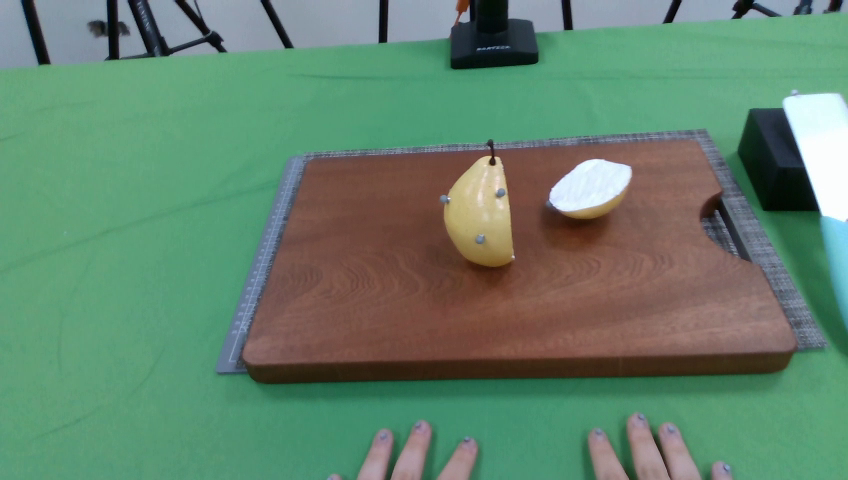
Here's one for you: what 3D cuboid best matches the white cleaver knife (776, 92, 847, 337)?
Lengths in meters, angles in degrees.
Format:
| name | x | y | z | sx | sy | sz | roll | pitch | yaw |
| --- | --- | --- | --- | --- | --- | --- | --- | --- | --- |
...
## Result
| name | x | y | z | sx | sy | sz | roll | pitch | yaw |
| --- | --- | --- | --- | --- | --- | --- | --- | --- | --- |
| white cleaver knife | 0.352 | -0.027 | 0.498 | 0.066 | 0.022 | 0.284 | 0 | 56 | 11 |

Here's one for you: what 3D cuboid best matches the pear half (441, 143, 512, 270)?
| name | x | y | z | sx | sy | sz | roll | pitch | yaw |
| --- | --- | --- | --- | --- | --- | --- | --- | --- | --- |
| pear half | 0.041 | -0.029 | 0.481 | 0.056 | 0.111 | 0.075 | -9 | 38 | -2 |

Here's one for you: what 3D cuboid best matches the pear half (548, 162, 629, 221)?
| name | x | y | z | sx | sy | sz | roll | pitch | yaw |
| --- | --- | --- | --- | --- | --- | --- | --- | --- | --- |
| pear half | 0.147 | -0.039 | 0.535 | 0.070 | 0.031 | 0.087 | -8 | 26 | 21 |
